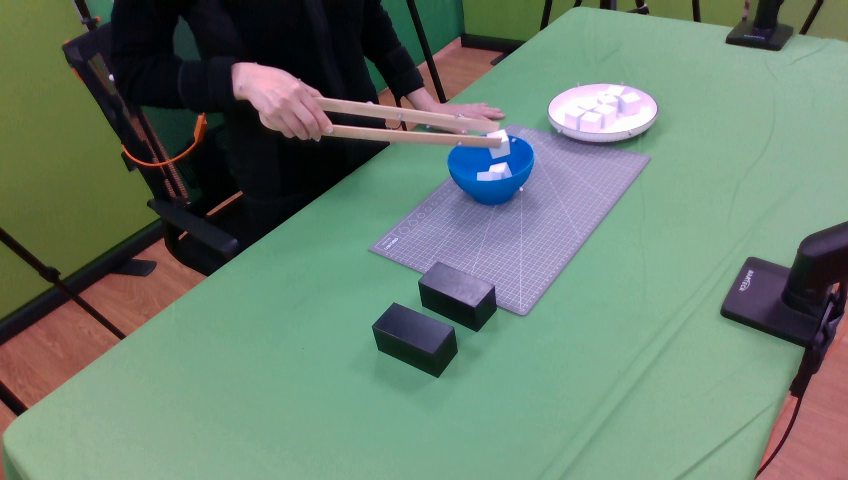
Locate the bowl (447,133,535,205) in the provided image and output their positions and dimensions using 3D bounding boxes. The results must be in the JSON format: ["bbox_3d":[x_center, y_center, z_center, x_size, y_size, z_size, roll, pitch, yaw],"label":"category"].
[{"bbox_3d":[0.119,-0.114,1.051,0.151,0.077,0.150,-5,40,5],"label":"bowl"}]

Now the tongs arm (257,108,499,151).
[{"bbox_3d":[-0.070,-0.171,0.967,0.389,0.028,0.028,5,62,-7],"label":"tongs arm"}]

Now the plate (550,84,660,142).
[{"bbox_3d":[0.355,-0.246,1.195,0.207,0.039,0.206,-5,39,5],"label":"plate"}]

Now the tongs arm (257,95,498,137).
[{"bbox_3d":[-0.070,-0.192,0.980,0.386,0.026,0.050,9,59,-5],"label":"tongs arm"}]
